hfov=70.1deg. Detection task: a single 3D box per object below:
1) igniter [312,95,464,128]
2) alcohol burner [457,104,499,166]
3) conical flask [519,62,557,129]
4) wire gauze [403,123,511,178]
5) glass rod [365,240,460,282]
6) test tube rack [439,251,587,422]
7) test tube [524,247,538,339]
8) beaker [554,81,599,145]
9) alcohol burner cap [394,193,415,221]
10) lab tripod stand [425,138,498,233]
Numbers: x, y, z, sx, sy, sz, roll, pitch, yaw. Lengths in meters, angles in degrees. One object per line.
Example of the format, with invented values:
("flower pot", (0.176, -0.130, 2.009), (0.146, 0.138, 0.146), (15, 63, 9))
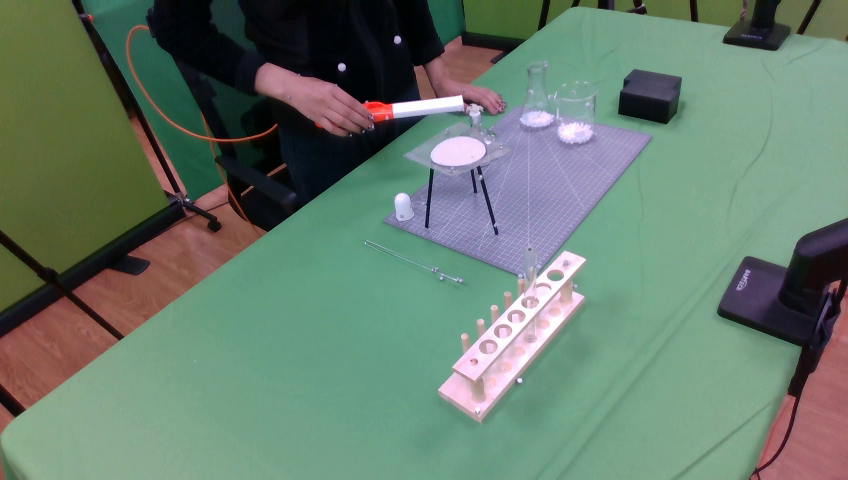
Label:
("igniter", (-0.067, -0.232, 1.091), (0.276, 0.025, 0.057), (-6, 48, 2))
("alcohol burner", (0.099, -0.198, 1.124), (0.078, 0.119, 0.077), (-5, 39, 4))
("conical flask", (0.225, -0.288, 1.199), (0.075, 0.122, 0.075), (-6, 40, 5))
("wire gauze", (0.051, -0.140, 0.943), (0.125, 0.011, 0.120), (-30, 43, -24))
("glass rod", (-0.022, 0.032, 0.961), (0.198, 0.008, 0.008), (21, 49, 35))
("test tube rack", (0.118, 0.111, 0.780), (0.066, 0.085, 0.243), (26, 51, 35))
("test tube", (0.133, 0.070, 0.749), (0.017, 0.151, 0.017), (-5, 38, 4))
("beaker", (0.286, -0.237, 1.144), (0.084, 0.101, 0.073), (-17, 40, -7))
("alcohol burner cap", (-0.036, -0.059, 1.040), (0.034, 0.048, 0.033), (-6, 41, 5))
("lab tripod stand", (0.063, -0.091, 0.988), (0.148, 0.132, 0.147), (-6, 39, 6))
